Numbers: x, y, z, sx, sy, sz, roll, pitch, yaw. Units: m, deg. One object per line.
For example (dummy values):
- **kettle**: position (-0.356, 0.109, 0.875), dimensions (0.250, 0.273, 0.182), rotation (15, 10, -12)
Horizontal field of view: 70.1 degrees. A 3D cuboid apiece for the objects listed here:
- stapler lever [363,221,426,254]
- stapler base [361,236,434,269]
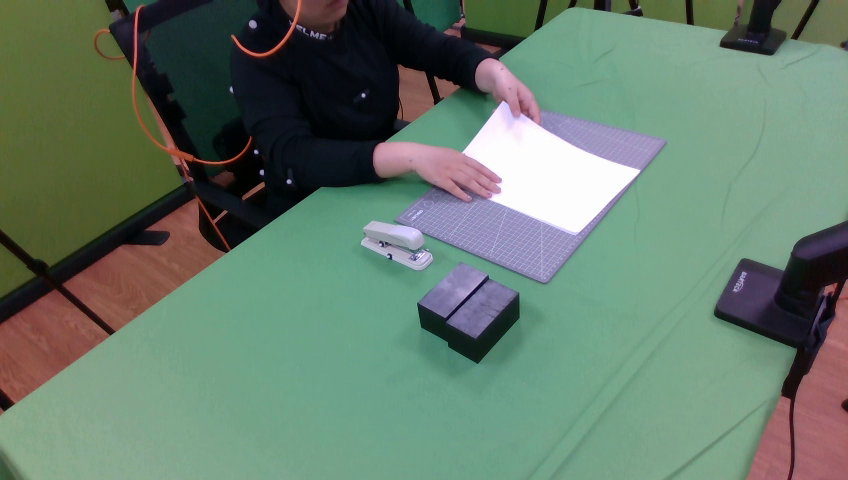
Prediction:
- **stapler lever**: position (-0.049, -0.011, 0.958), dimensions (0.117, 0.040, 0.027), rotation (21, 46, 32)
- **stapler base**: position (-0.044, 0.009, 0.974), dimensions (0.129, 0.024, 0.041), rotation (21, 46, 32)
